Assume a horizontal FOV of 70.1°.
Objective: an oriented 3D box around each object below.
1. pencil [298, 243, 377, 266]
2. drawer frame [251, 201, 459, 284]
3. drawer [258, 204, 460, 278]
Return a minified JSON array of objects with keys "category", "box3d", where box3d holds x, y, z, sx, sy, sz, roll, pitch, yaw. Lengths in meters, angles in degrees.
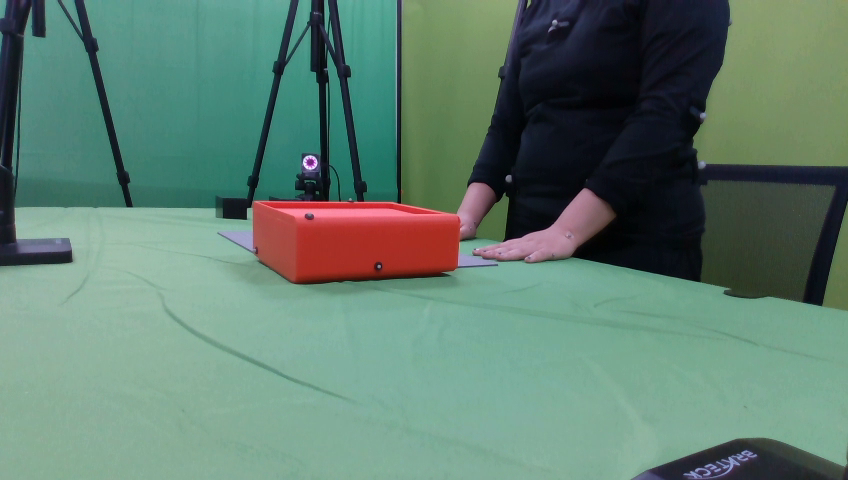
[{"category":"pencil","box3d":[-0.106,0.016,0.791,0.012,0.012,0.195,6,8,22]},{"category":"drawer frame","box3d":[-0.094,-0.005,0.788,0.215,0.082,0.200,-3,10,-30]},{"category":"drawer","box3d":[-0.090,-0.004,0.793,0.213,0.073,0.193,-3,10,-29]}]
